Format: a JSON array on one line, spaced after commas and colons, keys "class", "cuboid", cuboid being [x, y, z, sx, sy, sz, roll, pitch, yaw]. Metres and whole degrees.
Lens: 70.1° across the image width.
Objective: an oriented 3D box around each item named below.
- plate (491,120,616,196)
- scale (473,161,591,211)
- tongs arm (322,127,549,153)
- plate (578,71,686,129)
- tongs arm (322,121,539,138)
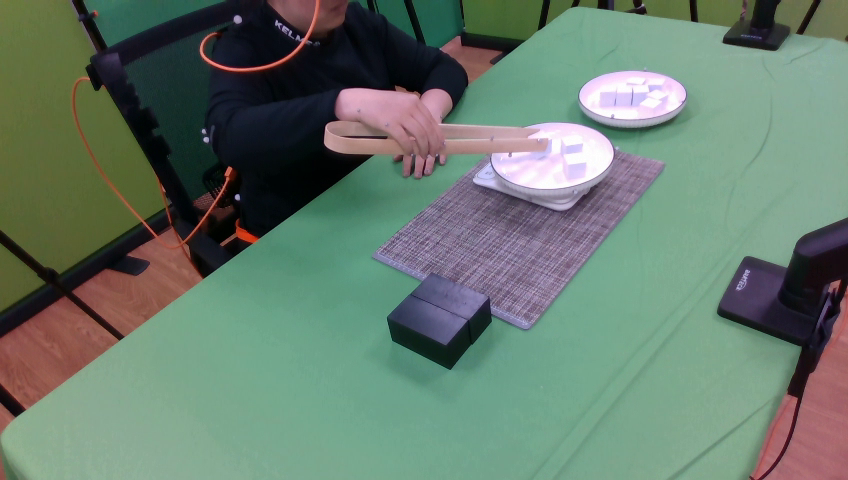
[{"class": "plate", "cuboid": [0.221, -0.137, 1.038, 0.207, 0.039, 0.206, -6, 41, 5]}, {"class": "scale", "cuboid": [0.202, -0.121, 1.074, 0.199, 0.032, 0.149, 23, 49, 33]}, {"class": "tongs arm", "cuboid": [0.031, -0.159, 0.961, 0.387, 0.026, 0.050, -6, 39, -28]}, {"class": "plate", "cuboid": [0.416, -0.280, 1.221, 0.209, 0.038, 0.208, -5, 41, 5]}, {"class": "tongs arm", "cuboid": [0.023, -0.173, 0.979, 0.390, 0.028, 0.028, -3, 41, -24]}]
